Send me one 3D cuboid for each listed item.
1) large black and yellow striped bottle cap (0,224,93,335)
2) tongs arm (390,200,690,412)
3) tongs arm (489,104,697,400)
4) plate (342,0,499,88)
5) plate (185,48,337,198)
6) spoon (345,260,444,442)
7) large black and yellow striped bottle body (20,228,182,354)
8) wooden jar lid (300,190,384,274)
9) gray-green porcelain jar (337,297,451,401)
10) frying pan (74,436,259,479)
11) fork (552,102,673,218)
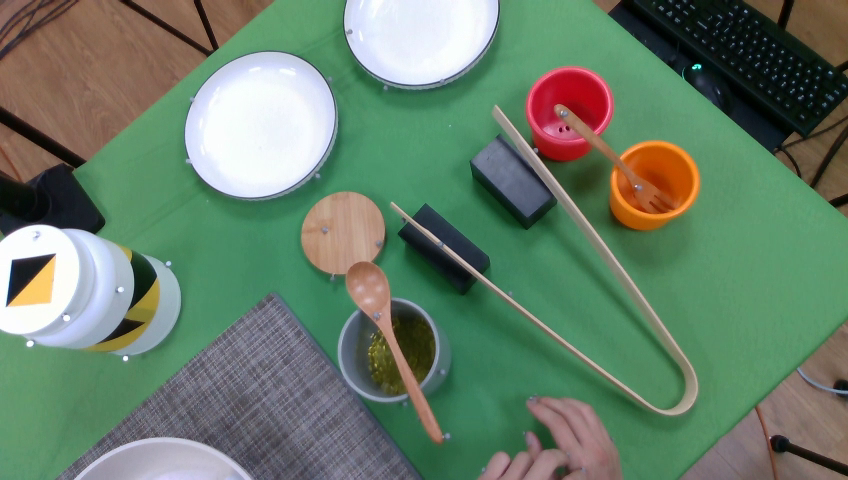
[{"bbox_3d":[-0.399,0.040,0.622,0.115,0.019,0.114,-2,78,7],"label":"large black and yellow striped bottle cap"},{"bbox_3d":[0.124,0.065,0.664,0.384,0.026,0.050,41,82,3],"label":"tongs arm"},{"bbox_3d":[0.185,0.007,0.673,0.028,0.028,0.386,-34,86,-10],"label":"tongs arm"},{"bbox_3d":[-0.004,-0.294,0.804,0.209,0.038,0.208,-2,77,9],"label":"plate"},{"bbox_3d":[-0.212,-0.152,0.803,0.207,0.039,0.206,-2,77,8],"label":"plate"},{"bbox_3d":[-0.028,0.108,0.594,0.041,0.022,0.192,-25,78,-3],"label":"spoon"},{"bbox_3d":[-0.386,0.062,0.703,0.130,0.185,0.130,-2,76,9],"label":"large black and yellow striped bottle body"},{"bbox_3d":[-0.101,-0.009,0.761,0.108,0.021,0.108,-2,78,8],"label":"wooden jar lid"},{"bbox_3d":[-0.027,0.123,0.663,0.106,0.127,0.105,-2,76,8],"label":"gray-green porcelain jar"},{"bbox_3d":[-0.283,0.461,0.630,0.306,0.103,0.484,-2,68,9],"label":"frying pan"},{"bbox_3d":[0.210,-0.086,0.664,0.209,0.018,0.028,35,92,-29],"label":"fork"}]
